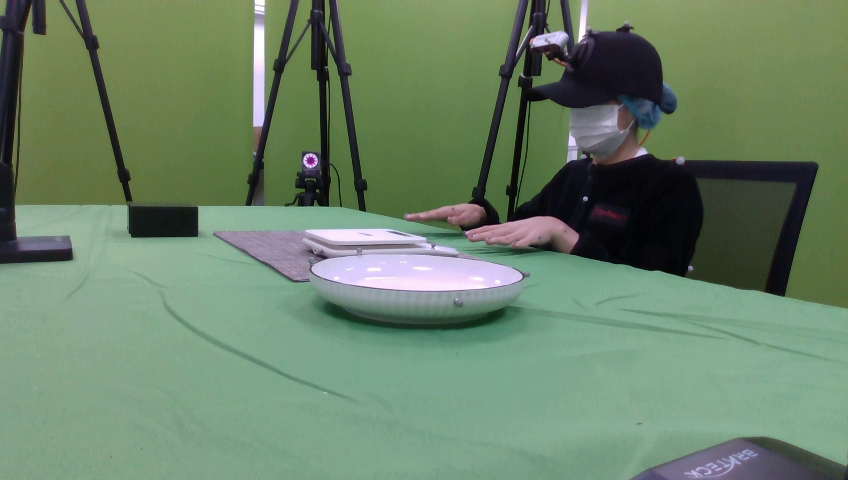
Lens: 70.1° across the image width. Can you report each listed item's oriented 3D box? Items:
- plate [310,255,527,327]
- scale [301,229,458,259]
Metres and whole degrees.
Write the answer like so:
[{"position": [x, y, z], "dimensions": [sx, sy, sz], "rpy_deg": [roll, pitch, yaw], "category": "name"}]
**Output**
[{"position": [-0.006, 0.047, 0.587], "dimensions": [0.208, 0.039, 0.207], "rpy_deg": [3, 7, 0], "category": "plate"}, {"position": [-0.065, 0.007, 0.878], "dimensions": [0.202, 0.031, 0.148], "rpy_deg": [0, 8, -29], "category": "scale"}]
